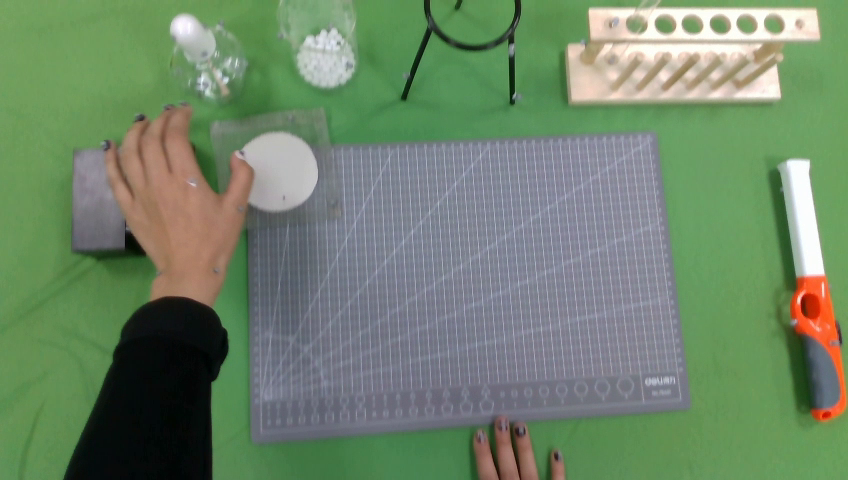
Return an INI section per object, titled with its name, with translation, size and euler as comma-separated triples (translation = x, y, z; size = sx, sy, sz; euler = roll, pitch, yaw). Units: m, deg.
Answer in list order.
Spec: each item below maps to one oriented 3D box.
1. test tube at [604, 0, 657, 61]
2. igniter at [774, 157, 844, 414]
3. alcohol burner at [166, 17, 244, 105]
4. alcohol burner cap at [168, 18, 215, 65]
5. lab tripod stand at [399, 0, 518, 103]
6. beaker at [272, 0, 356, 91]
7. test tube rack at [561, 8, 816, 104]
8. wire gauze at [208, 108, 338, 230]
[test tube]
translation = 0.211, -0.223, 0.604
size = 0.017, 0.151, 0.017
euler = 1, 76, -3
[igniter]
translation = 0.415, 0.045, 0.654
size = 0.057, 0.025, 0.275
euler = -1, 81, -15
[alcohol burner]
translation = -0.223, -0.183, 0.603
size = 0.078, 0.119, 0.077
euler = 1, 78, -3
[alcohol burner cap]
translation = -0.220, -0.188, 0.568
size = 0.034, 0.048, 0.034
euler = 0, 85, 2
[lab tripod stand]
translation = 0.037, -0.206, 0.615
size = 0.148, 0.132, 0.148
euler = 0, 79, -2
[beaker]
translation = -0.106, -0.202, 0.622
size = 0.074, 0.100, 0.084
euler = -34, 85, -8
[test tube rack]
translation = 0.281, -0.197, 0.655
size = 0.242, 0.085, 0.066
euler = -2, 81, -4
[wire gauze]
translation = -0.160, -0.076, 0.640
size = 0.125, 0.011, 0.121
euler = -9, 81, -5
